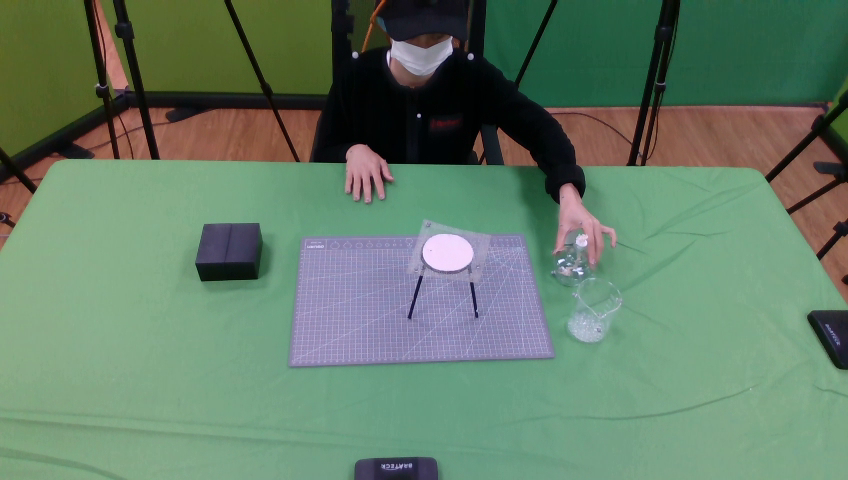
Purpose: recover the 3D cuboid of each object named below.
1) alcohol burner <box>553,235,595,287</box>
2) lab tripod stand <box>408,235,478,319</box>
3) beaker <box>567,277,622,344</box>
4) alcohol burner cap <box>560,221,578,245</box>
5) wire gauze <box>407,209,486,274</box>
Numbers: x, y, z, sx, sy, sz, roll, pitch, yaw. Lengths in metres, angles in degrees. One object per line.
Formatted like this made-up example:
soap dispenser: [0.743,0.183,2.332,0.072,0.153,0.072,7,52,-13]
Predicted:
alcohol burner: [0.282,0.032,1.126,0.078,0.120,0.077,1,49,-2]
lab tripod stand: [0.032,0.065,1.057,0.148,0.132,0.147,1,45,-1]
beaker: [0.291,0.127,1.045,0.074,0.101,0.083,7,47,4]
alcohol burner cap: [0.295,-0.016,1.224,0.034,0.048,0.033,4,45,-3]
wire gauze: [0.036,0.003,1.001,0.125,0.011,0.120,-7,52,-1]
